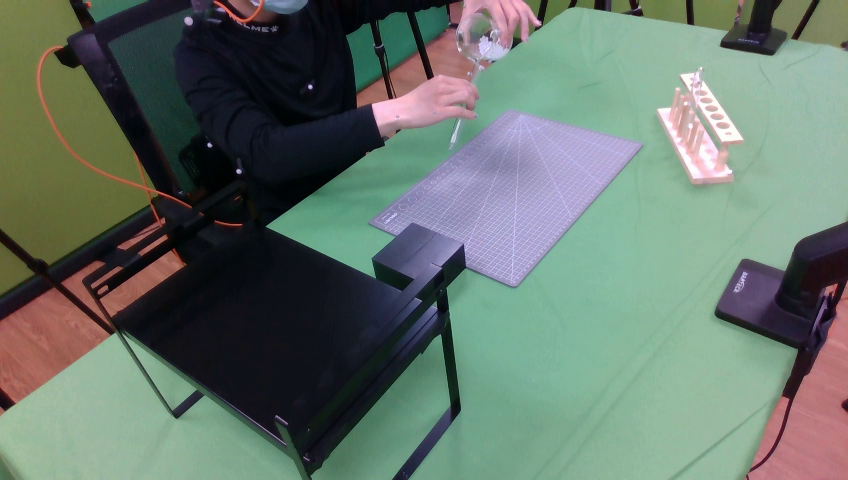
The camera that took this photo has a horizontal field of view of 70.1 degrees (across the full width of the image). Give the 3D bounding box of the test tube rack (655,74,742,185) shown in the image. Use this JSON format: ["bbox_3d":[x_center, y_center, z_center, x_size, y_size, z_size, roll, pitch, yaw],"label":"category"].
[{"bbox_3d":[0.488,-0.205,1.093,0.067,0.085,0.241,-3,41,5],"label":"test tube rack"}]

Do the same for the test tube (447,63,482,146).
[{"bbox_3d":[0.072,-0.240,1.077,0.017,0.150,0.017,18,13,-4],"label":"test tube"}]

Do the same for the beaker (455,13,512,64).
[{"bbox_3d":[0.111,-0.358,1.086,0.073,0.084,0.101,4,14,29],"label":"beaker"}]

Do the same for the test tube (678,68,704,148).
[{"bbox_3d":[0.465,-0.228,1.054,0.017,0.151,0.017,-4,41,4],"label":"test tube"}]
